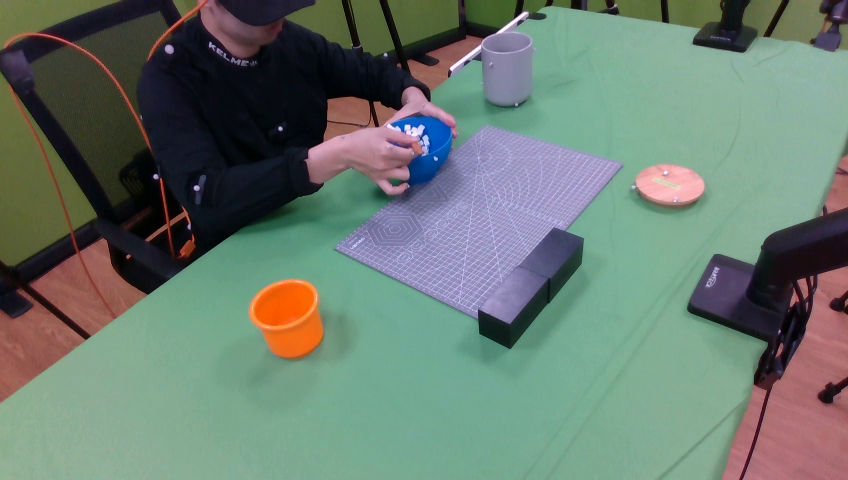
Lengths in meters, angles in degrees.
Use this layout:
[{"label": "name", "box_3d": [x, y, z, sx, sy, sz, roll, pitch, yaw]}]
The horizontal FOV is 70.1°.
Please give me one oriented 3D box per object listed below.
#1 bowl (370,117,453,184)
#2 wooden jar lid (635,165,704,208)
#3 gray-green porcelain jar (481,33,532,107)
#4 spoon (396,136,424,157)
[{"label": "bowl", "box_3d": [-0.018, -0.155, 1.106, 0.151, 0.077, 0.150, -6, 39, 5]}, {"label": "wooden jar lid", "box_3d": [0.410, -0.089, 1.014, 0.108, 0.021, 0.108, -5, 42, 5]}, {"label": "gray-green porcelain jar", "box_3d": [0.175, -0.355, 1.278, 0.106, 0.127, 0.105, -4, 41, 4]}, {"label": "spoon", "box_3d": [-0.021, -0.162, 1.040, 0.042, 0.021, 0.193, 1, 13, -8]}]
